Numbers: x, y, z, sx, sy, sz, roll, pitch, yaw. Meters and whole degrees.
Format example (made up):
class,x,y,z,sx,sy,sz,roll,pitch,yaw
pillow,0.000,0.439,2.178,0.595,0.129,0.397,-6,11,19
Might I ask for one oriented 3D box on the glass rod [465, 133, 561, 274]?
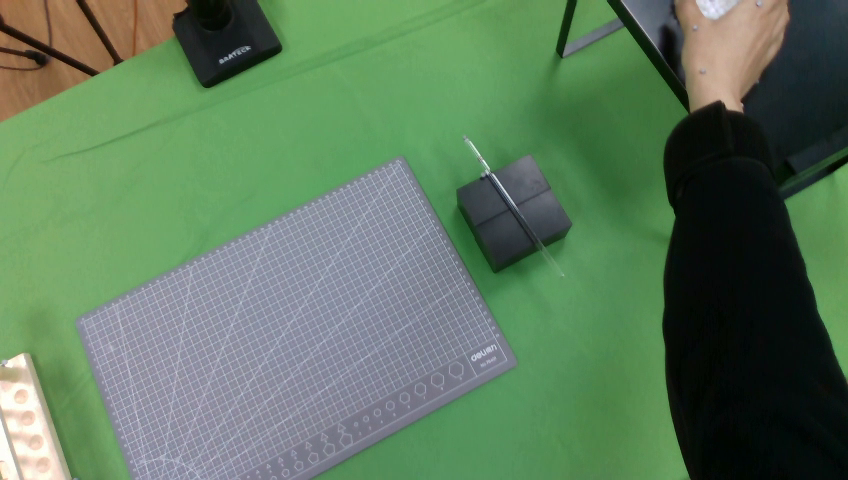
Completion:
class,x,y,z,sx,sy,sz,roll,pitch,yaw
glass rod,0.100,-0.044,0.697,0.008,0.008,0.198,-30,76,-5

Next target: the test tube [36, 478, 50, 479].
class,x,y,z,sx,sy,sz,roll,pitch,yaw
test tube,-0.417,0.252,0.604,0.017,0.151,0.017,1,73,-2

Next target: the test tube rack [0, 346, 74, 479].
class,x,y,z,sx,sy,sz,roll,pitch,yaw
test tube rack,-0.454,0.236,0.662,0.067,0.085,0.241,-27,76,-4

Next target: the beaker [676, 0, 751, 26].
class,x,y,z,sx,sy,sz,roll,pitch,yaw
beaker,0.281,-0.253,0.559,0.073,0.101,0.084,40,81,13
